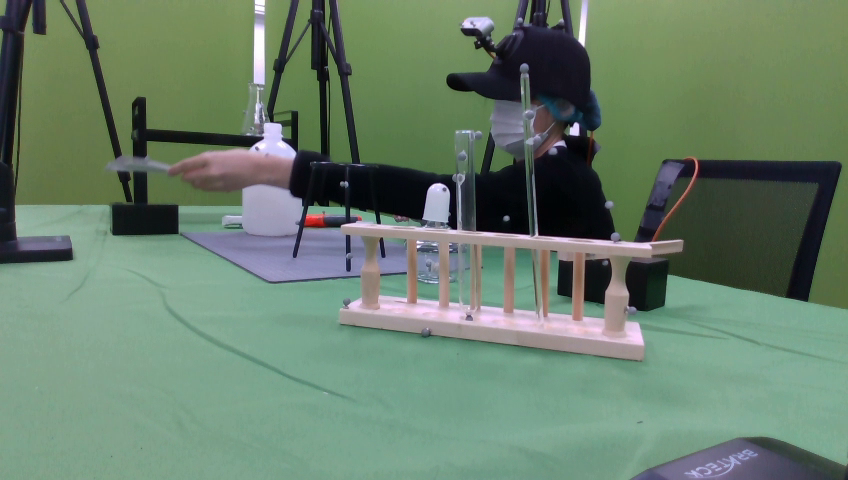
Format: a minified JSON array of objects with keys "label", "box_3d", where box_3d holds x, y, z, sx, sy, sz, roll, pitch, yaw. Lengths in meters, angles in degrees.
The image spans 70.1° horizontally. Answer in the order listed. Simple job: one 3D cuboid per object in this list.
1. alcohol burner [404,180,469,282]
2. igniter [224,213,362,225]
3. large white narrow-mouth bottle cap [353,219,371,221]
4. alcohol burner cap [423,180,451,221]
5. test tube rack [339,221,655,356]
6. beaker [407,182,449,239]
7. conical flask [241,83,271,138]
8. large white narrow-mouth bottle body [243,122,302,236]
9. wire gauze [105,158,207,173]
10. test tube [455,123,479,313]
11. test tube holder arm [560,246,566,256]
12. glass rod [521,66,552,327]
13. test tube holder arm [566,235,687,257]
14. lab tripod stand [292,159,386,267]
[{"label":"alcohol burner","box_3d":[0.015,-0.011,0.715,0.078,0.119,0.078,0,7,0]},{"label":"igniter","box_3d":[-0.255,-0.041,1.210,0.278,0.025,0.057,-2,-2,-31]},{"label":"large white narrow-mouth bottle cap","box_3d":[-0.121,-0.029,1.184,0.038,0.024,0.037,2,8,0]},{"label":"alcohol burner cap","box_3d":[0.017,-0.046,0.711,0.034,0.048,0.034,8,5,0]},{"label":"test tube rack","box_3d":[0.056,0.032,0.495,0.242,0.085,0.067,4,7,15]},{"label":"beaker","box_3d":[0.009,-0.054,1.105,0.074,0.100,0.083,-5,11,-43]},{"label":"conical flask","box_3d":[-0.384,-0.297,1.393,0.075,0.122,0.075,2,7,0]},{"label":"large white narrow-mouth bottle body","box_3d":[-0.265,-0.109,1.061,0.102,0.194,0.102,2,8,0]},{"label":"wire gauze","box_3d":[-0.428,-0.114,0.963,0.126,0.011,0.121,3,-1,-39]},{"label":"test tube","box_3d":[0.034,-0.016,0.476,0.017,0.150,0.017,-2,10,1]},{"label":"test tube holder arm","box_3d":[0.173,0.007,0.611,0.088,0.015,0.010,-3,9,-30]},{"label":"glass rod","box_3d":[0.085,-0.028,0.454,0.008,0.199,0.008,-7,10,2]},{"label":"test tube holder arm","box_3d":[0.215,0.006,0.630,0.179,0.015,0.013,-3,9,-30]},{"label":"lab tripod stand","box_3d":[-0.105,-0.039,0.797,0.148,0.131,0.148,2,5,0]}]
